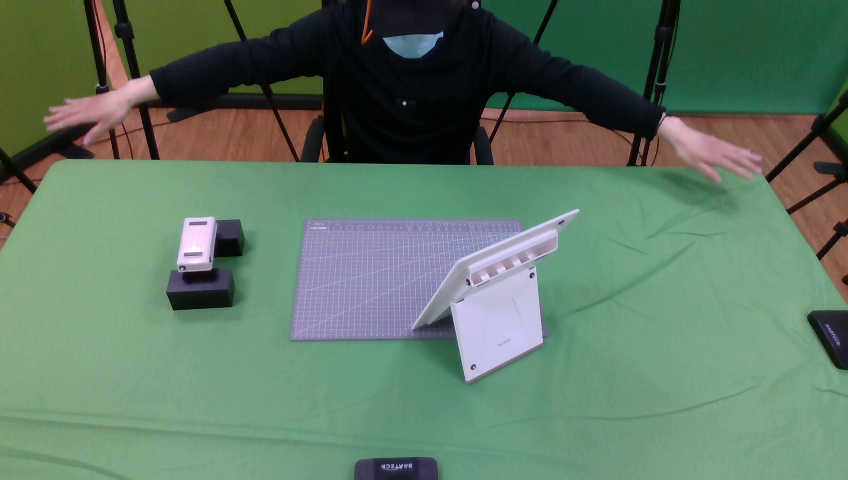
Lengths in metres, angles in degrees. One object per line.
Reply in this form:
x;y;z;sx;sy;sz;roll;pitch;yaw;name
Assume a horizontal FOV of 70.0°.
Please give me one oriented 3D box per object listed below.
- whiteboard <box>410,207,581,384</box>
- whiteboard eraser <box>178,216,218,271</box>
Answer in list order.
0.131;0.108;0.946;0.217;0.306;0.143;-21;72;-23;whiteboard
-0.400;0.008;1.078;0.056;0.042;0.112;-1;49;-10;whiteboard eraser
